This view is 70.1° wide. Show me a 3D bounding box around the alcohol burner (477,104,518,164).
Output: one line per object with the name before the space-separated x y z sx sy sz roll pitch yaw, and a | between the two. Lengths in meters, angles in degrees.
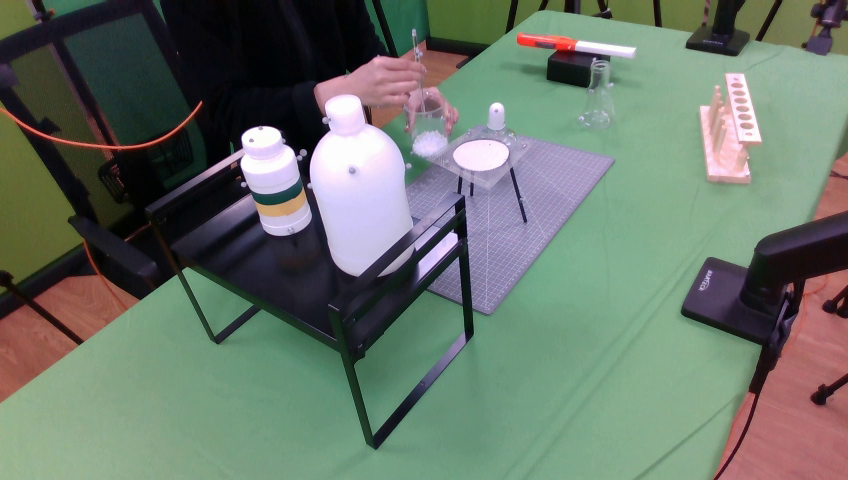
alcohol burner | 0.135 -0.200 1.117 0.078 0.119 0.077 -4 43 4

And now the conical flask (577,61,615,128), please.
conical flask | 0.343 -0.288 1.188 0.075 0.122 0.075 -4 41 4

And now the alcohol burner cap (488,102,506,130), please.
alcohol burner cap | 0.133 -0.227 1.092 0.034 0.048 0.033 -1 47 2

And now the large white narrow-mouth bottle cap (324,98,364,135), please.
large white narrow-mouth bottle cap | -0.077 -0.120 0.585 0.038 0.024 0.037 -3 42 4

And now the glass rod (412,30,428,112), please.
glass rod | -0.005 -0.269 0.987 0.008 0.200 0.008 -2 66 5

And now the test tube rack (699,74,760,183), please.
test tube rack | 0.547 -0.208 1.095 0.066 0.085 0.242 6 42 16

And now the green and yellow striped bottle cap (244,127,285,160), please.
green and yellow striped bottle cap | -0.183 -0.111 0.694 0.045 0.020 0.045 -1 42 1

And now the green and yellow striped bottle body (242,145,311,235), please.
green and yellow striped bottle body | -0.179 -0.069 0.730 0.063 0.120 0.063 -4 41 4

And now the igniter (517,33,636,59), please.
igniter | 0.336 -0.441 1.369 0.275 0.025 0.057 16 41 23

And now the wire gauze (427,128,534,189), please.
wire gauze | 0.086 -0.131 0.924 0.124 0.011 0.122 26 52 33

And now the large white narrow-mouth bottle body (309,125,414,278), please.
large white narrow-mouth bottle body | -0.068 -0.057 0.644 0.102 0.195 0.101 -4 42 4

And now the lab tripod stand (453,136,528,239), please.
lab tripod stand | 0.095 -0.086 0.974 0.148 0.132 0.147 -4 43 4

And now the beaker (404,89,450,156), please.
beaker | 0.009 -0.211 1.090 0.073 0.101 0.084 8 45 17
